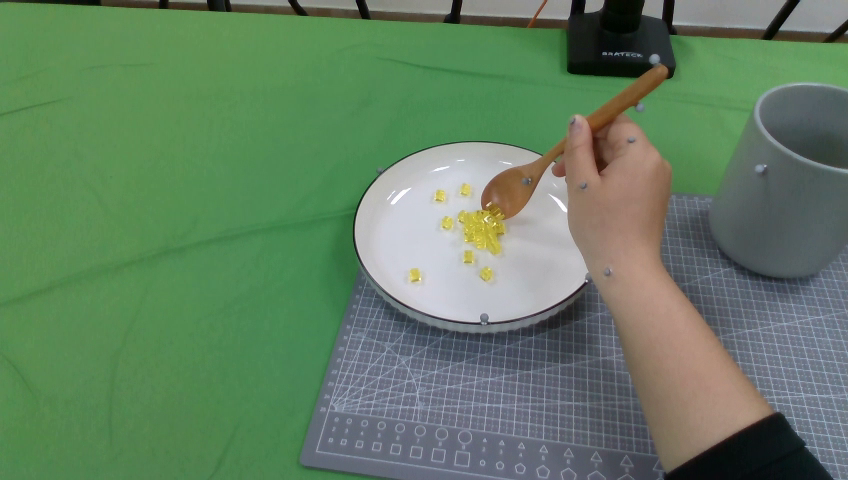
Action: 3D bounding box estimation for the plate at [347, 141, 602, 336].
[{"bbox_3d":[0.041,-0.003,0.511,0.208,0.039,0.205,0,49,1],"label":"plate"}]

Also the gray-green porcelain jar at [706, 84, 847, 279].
[{"bbox_3d":[0.290,-0.040,0.476,0.106,0.127,0.105,-1,49,1],"label":"gray-green porcelain jar"}]

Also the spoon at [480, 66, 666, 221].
[{"bbox_3d":[0.103,-0.067,0.458,0.022,0.194,0.041,-4,68,-31],"label":"spoon"}]
